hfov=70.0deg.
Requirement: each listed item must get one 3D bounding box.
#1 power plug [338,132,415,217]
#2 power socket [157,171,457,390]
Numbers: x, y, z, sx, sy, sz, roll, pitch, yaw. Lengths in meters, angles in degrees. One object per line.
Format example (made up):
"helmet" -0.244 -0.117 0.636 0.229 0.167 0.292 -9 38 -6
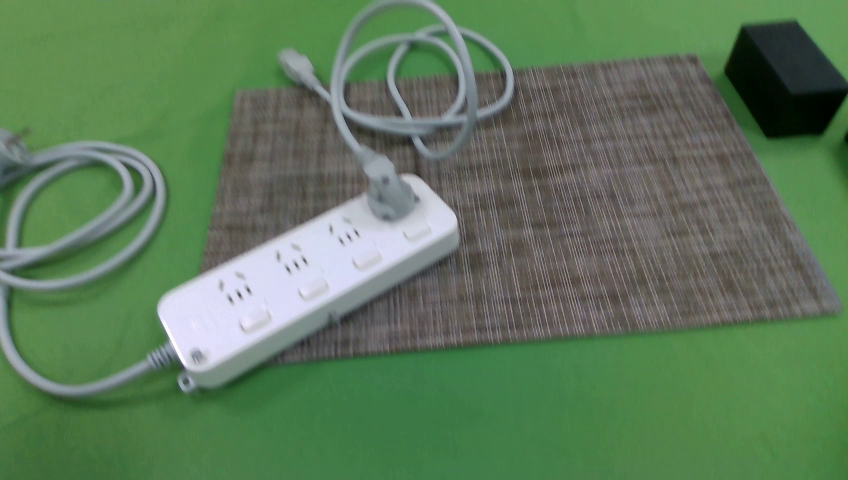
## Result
"power plug" -0.033 -0.047 0.450 0.035 0.053 0.072 -21 55 -12
"power socket" -0.076 0.021 0.429 0.227 0.033 0.071 -30 56 -18
